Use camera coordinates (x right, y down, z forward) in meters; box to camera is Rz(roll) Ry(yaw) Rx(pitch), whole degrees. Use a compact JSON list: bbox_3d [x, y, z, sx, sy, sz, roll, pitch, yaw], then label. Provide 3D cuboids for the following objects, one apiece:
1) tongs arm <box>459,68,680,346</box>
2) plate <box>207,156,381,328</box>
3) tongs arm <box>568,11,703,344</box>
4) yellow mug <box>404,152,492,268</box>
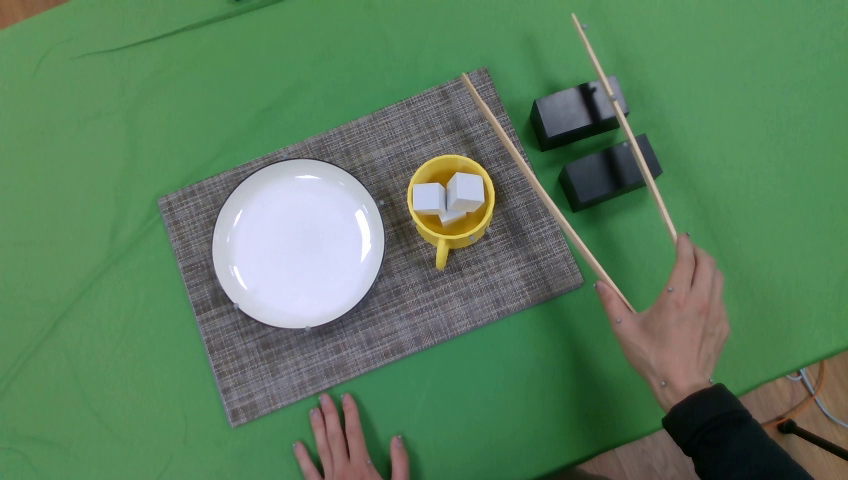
[{"bbox_3d":[0.144,-0.044,0.660,0.028,0.028,0.385,-32,73,-2],"label":"tongs arm"},{"bbox_3d":[-0.153,0.003,0.729,0.207,0.039,0.207,0,81,3],"label":"plate"},{"bbox_3d":[0.212,-0.078,0.652,0.051,0.027,0.382,-22,75,5],"label":"tongs arm"},{"bbox_3d":[0.026,-0.031,0.709,0.100,0.064,0.130,9,81,4],"label":"yellow mug"}]
